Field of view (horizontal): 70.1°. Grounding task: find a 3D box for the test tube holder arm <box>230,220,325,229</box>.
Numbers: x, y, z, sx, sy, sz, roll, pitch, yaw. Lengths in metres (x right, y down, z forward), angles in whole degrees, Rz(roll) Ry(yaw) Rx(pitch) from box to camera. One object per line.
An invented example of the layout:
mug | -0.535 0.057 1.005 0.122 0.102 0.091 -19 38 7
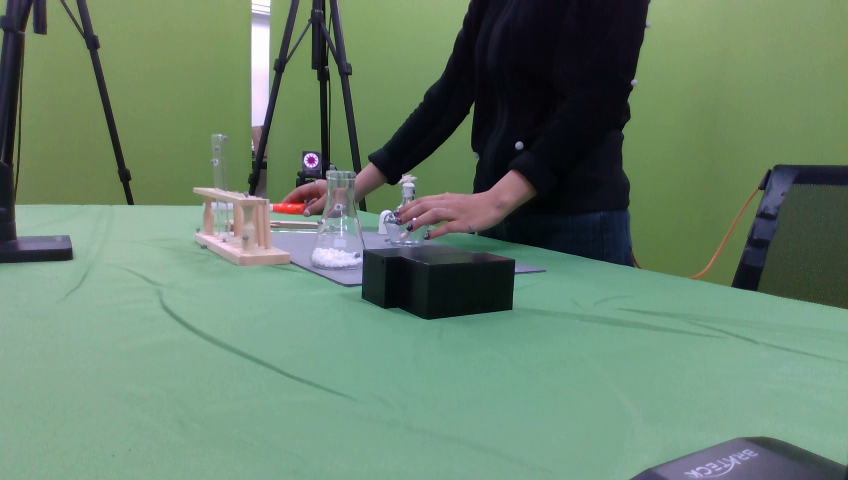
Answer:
test tube holder arm | -0.274 -0.029 1.143 0.179 0.015 0.013 -1 40 -30

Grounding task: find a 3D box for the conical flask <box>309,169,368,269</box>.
conical flask | -0.106 -0.028 0.762 0.075 0.122 0.075 2 7 0

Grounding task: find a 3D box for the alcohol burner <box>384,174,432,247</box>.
alcohol burner | -0.026 -0.049 0.994 0.078 0.119 0.078 2 9 0

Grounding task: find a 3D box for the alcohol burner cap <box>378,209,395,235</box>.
alcohol burner cap | -0.070 -0.035 1.144 0.034 0.048 0.034 1 7 0

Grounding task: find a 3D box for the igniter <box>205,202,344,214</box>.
igniter | -0.299 -0.067 1.234 0.278 0.025 0.057 0 1 -28

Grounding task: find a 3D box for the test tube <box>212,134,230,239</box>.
test tube | -0.290 -0.076 0.863 0.017 0.150 0.017 -2 6 0

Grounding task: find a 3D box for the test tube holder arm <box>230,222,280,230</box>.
test tube holder arm | -0.312 -0.025 1.117 0.088 0.015 0.010 -1 40 -30

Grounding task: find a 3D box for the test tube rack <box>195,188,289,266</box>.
test tube rack | -0.266 -0.025 0.864 0.067 0.085 0.241 -2 8 -33

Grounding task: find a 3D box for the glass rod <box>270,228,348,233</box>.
glass rod | -0.234 -0.017 1.104 0.201 0.008 0.008 1 7 -26
